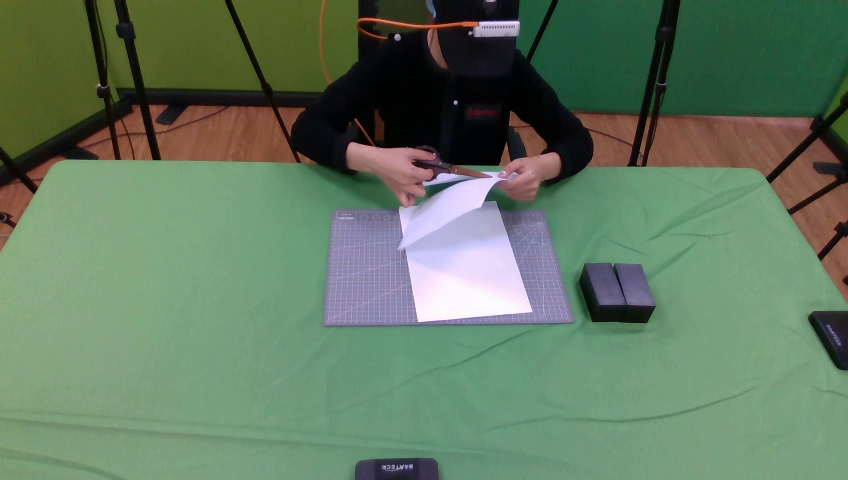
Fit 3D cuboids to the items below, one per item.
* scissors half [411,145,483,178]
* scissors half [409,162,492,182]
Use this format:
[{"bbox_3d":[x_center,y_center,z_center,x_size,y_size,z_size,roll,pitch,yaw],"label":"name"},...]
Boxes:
[{"bbox_3d":[0.053,-0.152,1.197,0.175,0.040,0.013,22,27,15],"label":"scissors half"},{"bbox_3d":[0.052,-0.133,1.204,0.175,0.040,0.013,6,17,22],"label":"scissors half"}]
